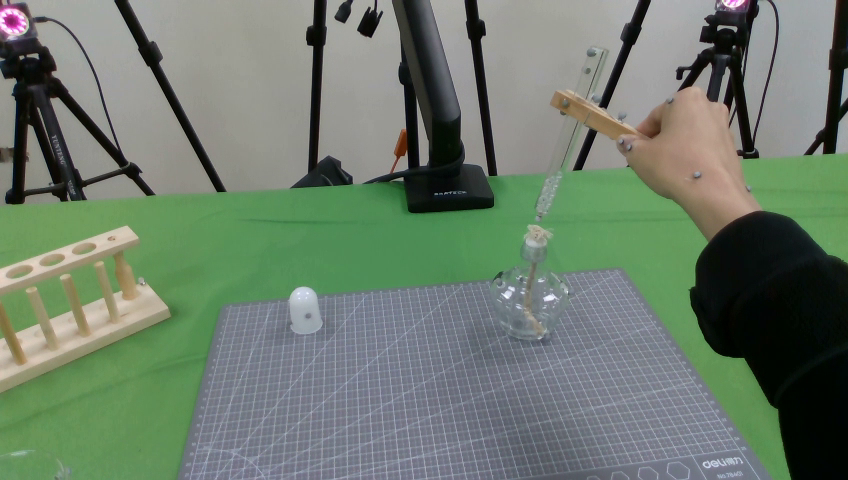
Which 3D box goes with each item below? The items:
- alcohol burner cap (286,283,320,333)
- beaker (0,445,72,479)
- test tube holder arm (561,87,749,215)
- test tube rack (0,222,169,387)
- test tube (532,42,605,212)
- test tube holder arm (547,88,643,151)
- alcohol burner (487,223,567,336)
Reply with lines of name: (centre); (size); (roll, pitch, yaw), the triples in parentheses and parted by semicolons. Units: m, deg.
alcohol burner cap: (-0.124, 0.066, 0.609); (0.034, 0.048, 0.033); (-1, 32, 1)
beaker: (-0.246, 0.188, 0.371); (0.084, 0.101, 0.073); (-1, 32, 2)
test tube holder arm: (0.172, -0.074, 0.473); (0.013, 0.015, 0.176); (-17, 48, -41)
test tube rack: (-0.381, 0.073, 0.569); (0.243, 0.086, 0.066); (-26, 41, -34)
test tube: (0.121, -0.091, 0.515); (0.017, 0.151, 0.017); (12, 27, -6)
test tube holder arm: (0.138, -0.098, 0.491); (0.087, 0.015, 0.010); (37, 38, 25)
alcohol burner: (0.101, 0.034, 0.587); (0.078, 0.120, 0.077); (1, 33, 0)
